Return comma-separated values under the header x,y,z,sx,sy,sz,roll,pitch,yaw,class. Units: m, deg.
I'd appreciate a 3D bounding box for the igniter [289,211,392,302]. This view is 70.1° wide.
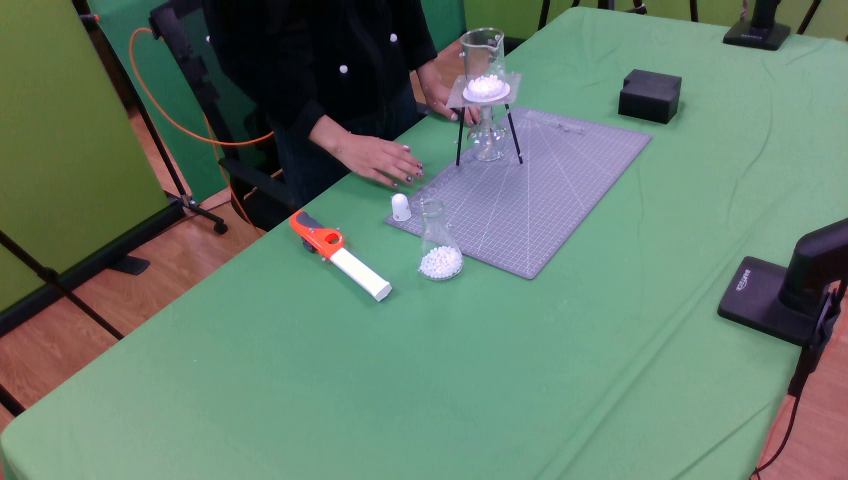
x,y,z,sx,sy,sz,roll,pitch,yaw,class
-0.146,0.019,0.985,0.057,0.025,0.274,-40,48,-18,igniter

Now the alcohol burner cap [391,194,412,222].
x,y,z,sx,sy,sz,roll,pitch,yaw,class
-0.041,-0.057,1.040,0.034,0.048,0.033,-6,40,5,alcohol burner cap

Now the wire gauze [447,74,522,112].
x,y,z,sx,sy,sz,roll,pitch,yaw,class
0.110,-0.268,1.087,0.121,0.011,0.125,1,42,15,wire gauze

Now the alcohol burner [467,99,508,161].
x,y,z,sx,sy,sz,roll,pitch,yaw,class
0.119,-0.210,1.134,0.078,0.119,0.077,-4,39,4,alcohol burner

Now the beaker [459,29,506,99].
x,y,z,sx,sy,sz,roll,pitch,yaw,class
0.107,-0.305,1.056,0.074,0.101,0.083,-27,43,-18,beaker

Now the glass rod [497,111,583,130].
x,y,z,sx,sy,sz,roll,pitch,yaw,class
0.233,-0.245,1.235,0.198,0.008,0.008,20,49,34,glass rod

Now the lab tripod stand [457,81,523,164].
x,y,z,sx,sy,sz,roll,pitch,yaw,class
0.120,-0.219,1.130,0.148,0.132,0.147,-7,39,6,lab tripod stand

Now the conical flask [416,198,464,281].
x,y,z,sx,sy,sz,roll,pitch,yaw,class
0.019,-0.004,0.907,0.075,0.122,0.075,-5,40,5,conical flask
